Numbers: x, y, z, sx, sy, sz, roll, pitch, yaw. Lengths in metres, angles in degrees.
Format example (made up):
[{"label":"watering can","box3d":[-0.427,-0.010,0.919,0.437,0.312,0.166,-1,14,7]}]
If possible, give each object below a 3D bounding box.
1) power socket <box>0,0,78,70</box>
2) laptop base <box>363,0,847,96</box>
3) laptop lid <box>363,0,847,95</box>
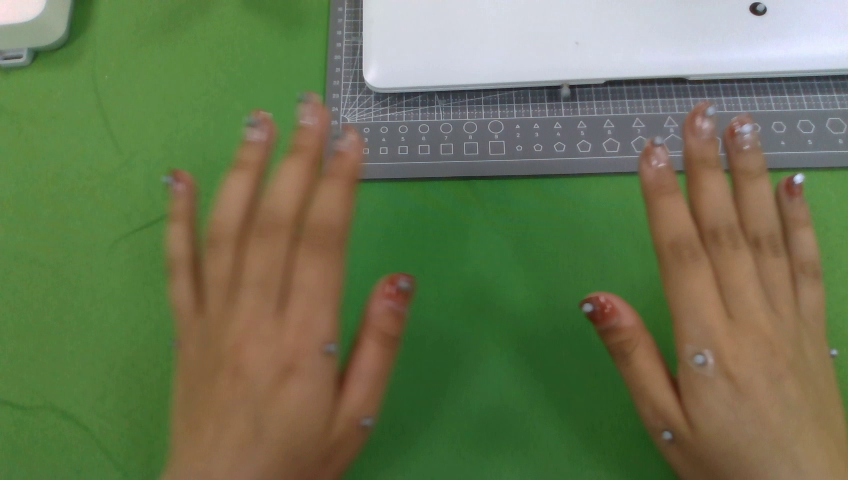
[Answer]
[{"label":"power socket","box3d":[-0.283,-0.225,0.437,0.072,0.033,0.225,-4,68,-1]},{"label":"laptop base","box3d":[0.135,-0.204,0.421,0.354,0.023,0.234,-2,72,1]},{"label":"laptop lid","box3d":[0.134,-0.206,0.409,0.357,0.013,0.240,-1,71,2]}]
